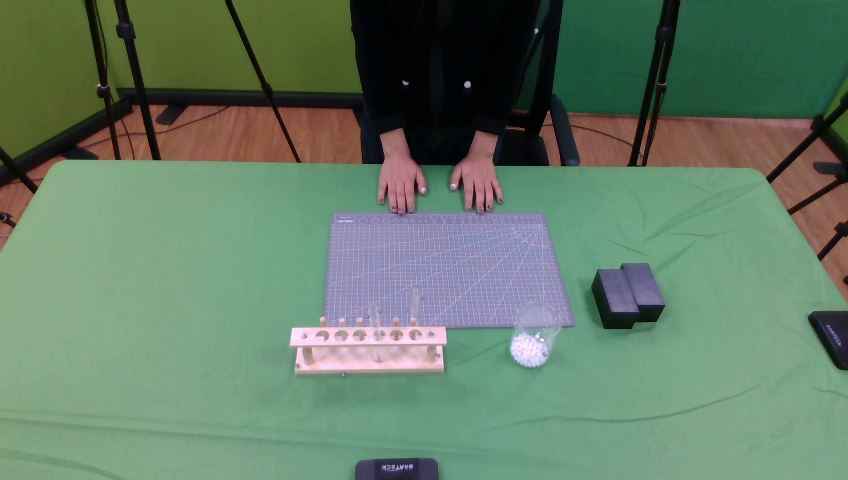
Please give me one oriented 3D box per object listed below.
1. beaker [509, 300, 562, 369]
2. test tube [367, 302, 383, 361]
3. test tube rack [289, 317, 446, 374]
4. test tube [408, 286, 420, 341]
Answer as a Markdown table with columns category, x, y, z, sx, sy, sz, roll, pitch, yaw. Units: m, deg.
| category | x | y | z | sx | sy | sz | roll | pitch | yaw |
| --- | --- | --- | --- | --- | --- | --- | --- | --- | --- |
| beaker | 0.182 | 0.162 | 1.005 | 0.074 | 0.101 | 0.083 | -4 | 47 | -7 |
| test tube | -0.075 | 0.145 | 0.941 | 0.017 | 0.151 | 0.017 | 0 | 49 | 0 |
| test tube rack | -0.089 | 0.167 | 0.988 | 0.242 | 0.085 | 0.066 | 0 | 46 | -4 |
| test tube | -0.017 | 0.123 | 0.974 | 0.017 | 0.151 | 0.017 | 2 | 48 | -2 |
